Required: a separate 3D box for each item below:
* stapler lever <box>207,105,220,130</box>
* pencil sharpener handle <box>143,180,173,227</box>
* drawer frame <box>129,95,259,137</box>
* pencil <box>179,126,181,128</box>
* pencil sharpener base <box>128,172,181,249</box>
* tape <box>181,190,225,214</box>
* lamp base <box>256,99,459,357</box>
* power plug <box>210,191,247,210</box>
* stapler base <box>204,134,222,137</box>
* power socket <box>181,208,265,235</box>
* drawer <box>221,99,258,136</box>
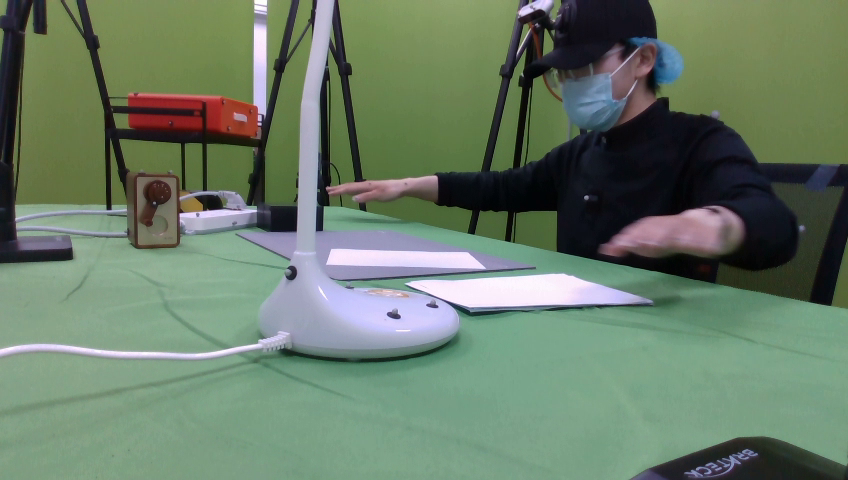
[{"bbox_3d":[-0.483,-0.281,1.388,0.027,0.040,0.117,5,-1,-18],"label":"stapler lever"},{"bbox_3d":[-0.371,-0.050,0.840,0.036,0.067,0.030,24,-5,-34],"label":"pencil sharpener handle"},{"bbox_3d":[-0.515,-0.281,1.380,0.213,0.082,0.202,3,8,6],"label":"drawer frame"},{"bbox_3d":[-0.549,-0.256,1.368,0.012,0.012,0.193,-1,10,-21],"label":"pencil"},{"bbox_3d":[-0.395,-0.044,0.887,0.062,0.107,0.076,-2,9,-34],"label":"pencil sharpener base"},{"bbox_3d":[-0.515,-0.087,1.388,0.117,0.052,0.117,3,7,0],"label":"tape"},{"bbox_3d":[-0.055,-0.013,0.463,0.160,0.180,0.180,6,11,27],"label":"lamp base"},{"bbox_3d":[-0.386,-0.071,1.204,0.072,0.052,0.035,7,8,26],"label":"power plug"},{"bbox_3d":[-0.483,-0.256,1.387,0.041,0.024,0.130,5,-1,-18],"label":"stapler base"},{"bbox_3d":[-0.381,-0.038,1.129,0.072,0.032,0.227,4,8,17],"label":"power socket"},{"bbox_3d":[-0.513,-0.280,1.382,0.212,0.073,0.194,3,8,7],"label":"drawer"}]
